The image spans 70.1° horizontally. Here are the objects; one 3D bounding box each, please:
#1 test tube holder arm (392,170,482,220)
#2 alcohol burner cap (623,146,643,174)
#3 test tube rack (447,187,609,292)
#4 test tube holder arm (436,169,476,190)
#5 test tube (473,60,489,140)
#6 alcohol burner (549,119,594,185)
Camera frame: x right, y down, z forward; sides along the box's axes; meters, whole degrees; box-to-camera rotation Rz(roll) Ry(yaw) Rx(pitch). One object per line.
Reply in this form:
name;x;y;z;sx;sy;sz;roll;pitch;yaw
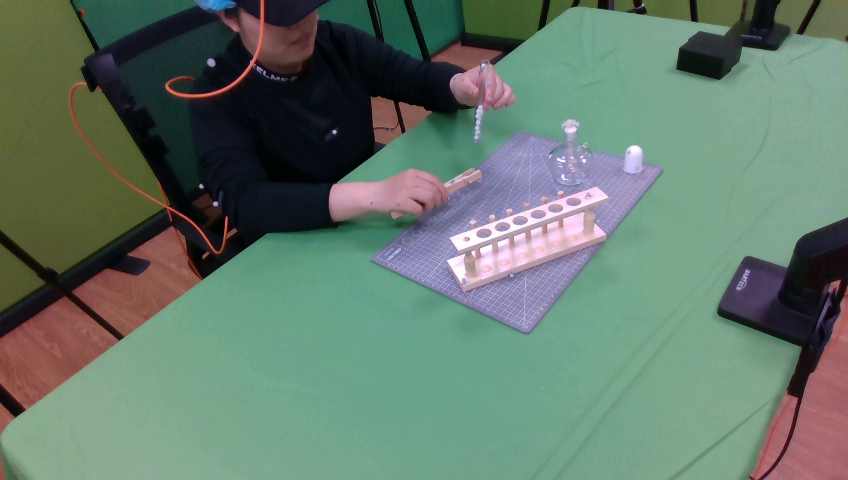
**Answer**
test tube holder arm;0.023;-0.078;1.014;0.179;0.015;0.013;-28;26;-23
alcohol burner cap;0.369;-0.142;1.061;0.034;0.048;0.033;-7;40;6
test tube rack;0.155;-0.011;0.913;0.243;0.085;0.066;-19;41;-11
test tube holder arm;0.056;-0.099;1.037;0.088;0.015;0.010;-32;28;-30
test tube;0.097;-0.235;1.029;0.017;0.150;0.017;2;44;-1
alcohol burner;0.254;-0.155;1.043;0.078;0.120;0.077;-7;40;6
